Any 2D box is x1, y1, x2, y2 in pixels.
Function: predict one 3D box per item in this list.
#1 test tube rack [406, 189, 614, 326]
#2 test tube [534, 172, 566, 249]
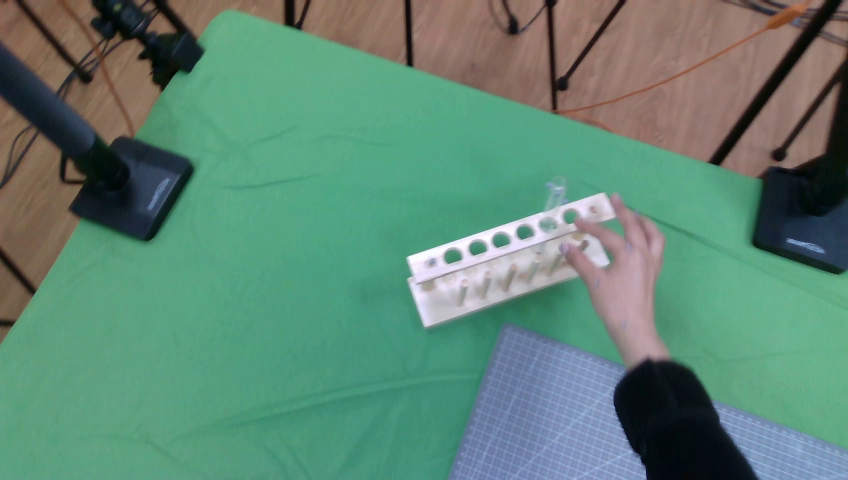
[{"bbox_3d":[0.104,0.022,0.715,0.242,0.086,0.066,-18,69,-8],"label":"test tube rack"},{"bbox_3d":[0.140,-0.028,0.683,0.017,0.151,0.017,-1,62,2],"label":"test tube"}]
